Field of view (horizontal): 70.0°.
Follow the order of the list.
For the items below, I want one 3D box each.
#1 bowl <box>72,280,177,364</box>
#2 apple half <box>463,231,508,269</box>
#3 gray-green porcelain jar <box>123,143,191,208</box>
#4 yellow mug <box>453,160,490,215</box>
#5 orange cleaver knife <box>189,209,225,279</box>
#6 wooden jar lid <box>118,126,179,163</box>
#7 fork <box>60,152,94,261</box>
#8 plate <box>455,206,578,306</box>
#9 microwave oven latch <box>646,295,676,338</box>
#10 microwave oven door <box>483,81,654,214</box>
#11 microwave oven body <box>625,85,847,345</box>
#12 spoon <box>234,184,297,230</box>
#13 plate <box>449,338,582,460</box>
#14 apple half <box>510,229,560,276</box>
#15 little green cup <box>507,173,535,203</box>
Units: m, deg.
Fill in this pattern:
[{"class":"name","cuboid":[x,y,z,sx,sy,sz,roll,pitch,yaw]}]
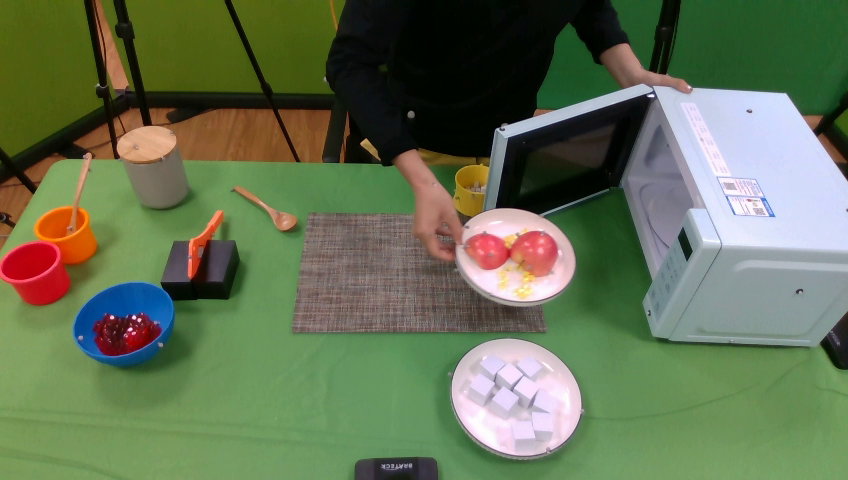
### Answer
[{"class":"bowl","cuboid":[-0.473,0.147,0.982,0.151,0.077,0.150,2,46,-2]},{"class":"apple half","cuboid":[0.111,0.008,1.035,0.081,0.033,0.081,7,51,-9]},{"class":"gray-green porcelain jar","cuboid":[-0.531,-0.136,1.213,0.106,0.127,0.105,2,47,-2]},{"class":"yellow mug","cuboid":[0.116,-0.119,1.284,0.100,0.064,0.130,8,44,4]},{"class":"orange cleaver knife","cuboid":[-0.401,0.002,1.122,0.012,0.077,0.210,4,23,-4]},{"class":"wooden jar lid","cuboid":[-0.528,-0.181,1.167,0.108,0.021,0.107,3,47,-4]},{"class":"fork","cuboid":[-0.639,-0.063,1.120,0.028,0.018,0.207,12,90,5]},{"class":"plate","cuboid":[0.154,0.029,1.029,0.209,0.038,0.208,3,50,-4]},{"class":"microwave oven latch","cuboid":[0.412,0.133,1.060,0.030,0.029,0.078,4,46,1]},{"class":"microwave oven door","cuboid":[0.281,-0.163,1.192,0.356,0.245,0.039,-21,51,-22]},{"class":"microwave oven body","cuboid":[0.568,-0.054,1.116,0.326,0.261,0.439,2,46,-1]},{"class":"spoon","cuboid":[-0.328,-0.073,1.239,0.193,0.022,0.041,34,70,25]},{"class":"plate","cuboid":[0.141,0.251,0.955,0.208,0.039,0.206,2,46,-2]},{"class":"apple half","cuboid":[0.192,0.013,1.027,0.075,0.053,0.080,-25,56,-28]},{"class":"little green cup","cuboid":[0.206,-0.111,1.302,0.061,0.039,0.061,2,47,-2]}]
